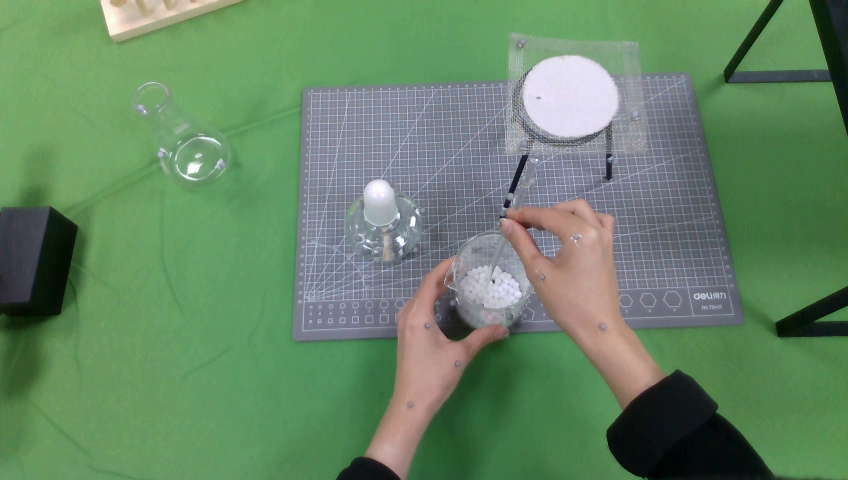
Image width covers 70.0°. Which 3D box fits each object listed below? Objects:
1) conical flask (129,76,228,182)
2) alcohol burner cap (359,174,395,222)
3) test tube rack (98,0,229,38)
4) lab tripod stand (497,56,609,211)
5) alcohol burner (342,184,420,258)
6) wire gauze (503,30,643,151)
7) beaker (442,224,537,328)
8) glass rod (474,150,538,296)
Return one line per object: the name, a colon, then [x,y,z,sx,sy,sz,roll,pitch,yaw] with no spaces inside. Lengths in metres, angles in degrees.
conical flask: [-0.256,-0.117,0.622,0.075,0.122,0.075,0,69,1]
alcohol burner cap: [-0.044,-0.041,0.554,0.034,0.048,0.033,1,63,-2]
test tube rack: [-0.280,-0.331,0.721,0.242,0.086,0.066,-21,71,-7]
lab tripod stand: [0.126,-0.107,0.603,0.148,0.132,0.147,0,68,0]
alcohol burner: [-0.042,-0.026,0.587,0.078,0.120,0.077,0,68,0]
wire gauze: [0.132,-0.135,0.541,0.121,0.011,0.124,3,70,1]
beaker: [0.058,0.040,0.569,0.084,0.101,0.073,-12,69,-2]
glass rod: [0.067,-0.006,0.525,0.008,0.201,0.008,5,53,-6]
